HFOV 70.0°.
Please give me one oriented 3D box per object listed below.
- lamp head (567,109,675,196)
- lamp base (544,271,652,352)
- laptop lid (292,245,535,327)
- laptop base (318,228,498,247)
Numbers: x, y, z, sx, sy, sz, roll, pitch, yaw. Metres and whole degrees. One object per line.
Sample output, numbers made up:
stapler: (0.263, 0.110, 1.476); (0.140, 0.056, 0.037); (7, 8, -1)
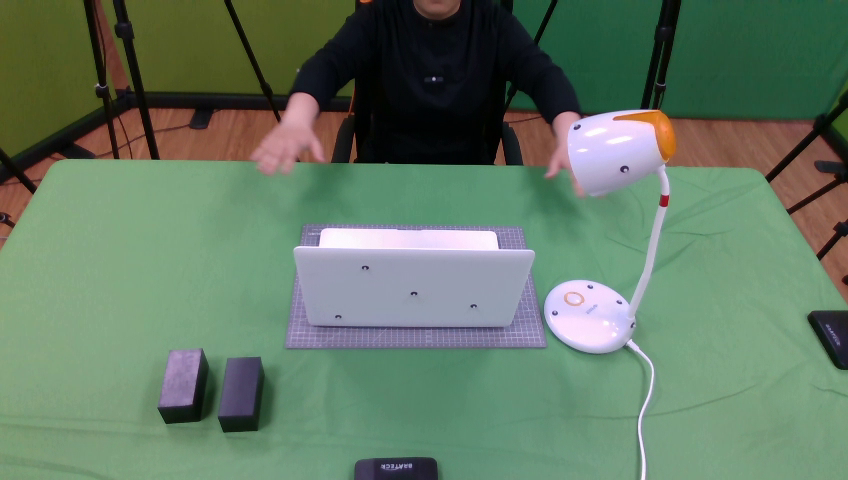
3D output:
lamp head: (0.272, -0.123, 0.818); (0.122, 0.113, 0.112); (-9, 35, 37)
lamp base: (0.310, 0.086, 1.029); (0.178, 0.181, 0.160); (32, 52, 21)
laptop lid: (-0.018, 0.080, 0.956); (0.357, 0.243, 0.013); (2, 54, -5)
laptop base: (-0.028, 0.066, 1.134); (0.355, 0.023, 0.234); (1, 43, -4)
